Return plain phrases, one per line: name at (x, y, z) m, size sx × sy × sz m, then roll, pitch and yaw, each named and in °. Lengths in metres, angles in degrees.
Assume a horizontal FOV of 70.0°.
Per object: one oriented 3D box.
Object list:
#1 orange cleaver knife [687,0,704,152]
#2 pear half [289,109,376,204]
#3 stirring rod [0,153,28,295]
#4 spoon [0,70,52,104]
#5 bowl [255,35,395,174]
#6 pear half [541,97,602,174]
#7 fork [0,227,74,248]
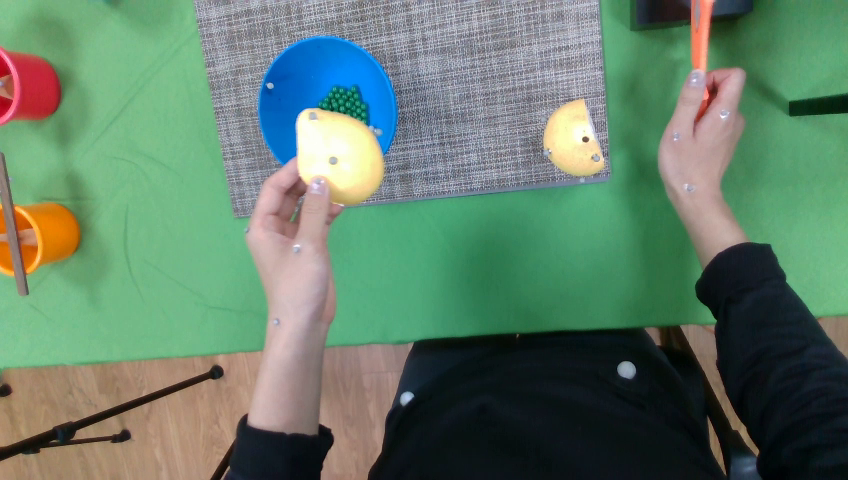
orange cleaver knife at (0.251, -0.174, 0.563) m, size 0.012 × 0.076 × 0.214 m, roll -5°, pitch 142°, yaw 21°
pear half at (-0.073, -0.070, 0.496) m, size 0.070 × 0.031 × 0.089 m, roll -48°, pitch 119°, yaw -17°
stirring rod at (-0.500, -0.018, 0.728) m, size 0.014 × 0.006 × 0.176 m, roll -1°, pitch 102°, yaw 8°
spoon at (-0.550, -0.181, 0.709) m, size 0.195 × 0.021 × 0.042 m, roll -8°, pitch 104°, yaw -32°
bowl at (-0.097, -0.140, 0.659) m, size 0.151 × 0.076 × 0.152 m, roll 2°, pitch 102°, yaw 11°
pear half at (0.145, -0.100, 0.604) m, size 0.056 × 0.110 × 0.076 m, roll -25°, pitch 92°, yaw 15°
fork at (-0.549, -0.006, 0.742) m, size 0.209 × 0.018 × 0.028 m, roll 3°, pitch 117°, yaw -34°
